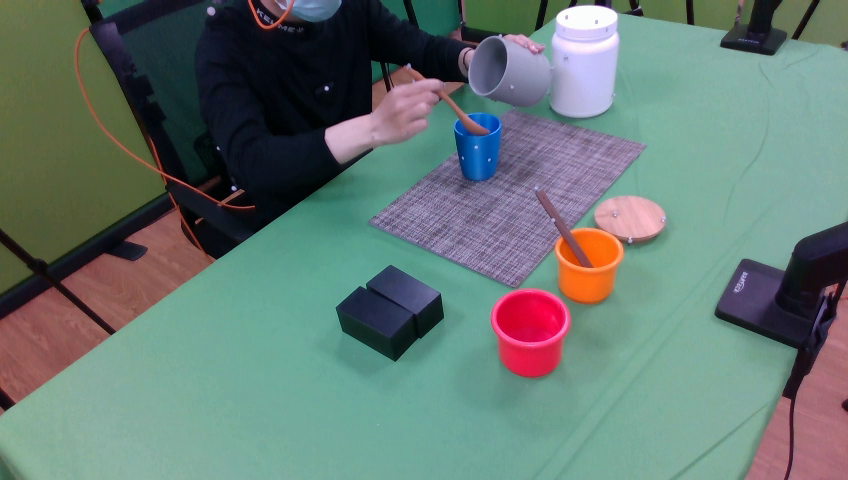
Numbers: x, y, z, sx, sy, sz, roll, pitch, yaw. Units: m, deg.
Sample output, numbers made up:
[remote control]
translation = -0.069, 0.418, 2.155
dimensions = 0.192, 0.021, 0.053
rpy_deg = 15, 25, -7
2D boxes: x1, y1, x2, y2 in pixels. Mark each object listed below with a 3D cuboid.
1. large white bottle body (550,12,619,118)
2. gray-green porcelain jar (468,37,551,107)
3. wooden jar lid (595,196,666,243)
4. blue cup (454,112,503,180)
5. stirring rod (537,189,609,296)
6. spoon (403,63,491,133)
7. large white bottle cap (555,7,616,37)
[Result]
[large white bottle body]
translation = 0.321, -0.356, 1.218
dimensions = 0.130, 0.185, 0.130
rpy_deg = -4, 41, 4
[gray-green porcelain jar]
translation = 0.163, -0.306, 1.114
dimensions = 0.127, 0.106, 0.105
rpy_deg = 4, 29, -38
[wooden jar lid]
translation = 0.329, -0.032, 0.967
dimensions = 0.108, 0.021, 0.108
rpy_deg = -4, 41, 4
[blue cup]
translation = 0.098, -0.165, 1.088
dimensions = 0.092, 0.100, 0.092
rpy_deg = -3, 40, 3
[stirring rod]
translation = 0.210, 0.003, 0.855
dimensions = 0.014, 0.006, 0.176
rpy_deg = -32, 89, -30
[spoon]
translation = 0.039, -0.231, 1.001
dimensions = 0.021, 0.195, 0.041
rpy_deg = -59, 27, -12
[large white bottle cap]
translation = 0.311, -0.420, 1.163
dimensions = 0.115, 0.018, 0.114
rpy_deg = -4, 40, 4
